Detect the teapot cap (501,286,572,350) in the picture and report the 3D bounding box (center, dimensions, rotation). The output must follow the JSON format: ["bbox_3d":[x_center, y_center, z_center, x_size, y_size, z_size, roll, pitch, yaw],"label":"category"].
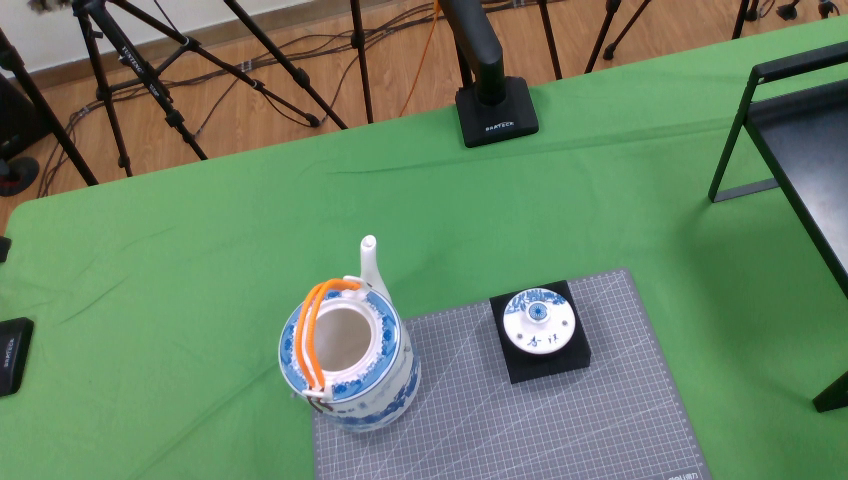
[{"bbox_3d":[0.134,0.091,0.722,0.085,0.044,0.084,-6,56,9],"label":"teapot cap"}]

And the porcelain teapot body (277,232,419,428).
[{"bbox_3d":[-0.087,0.097,0.715,0.145,0.227,0.204,6,61,15],"label":"porcelain teapot body"}]
